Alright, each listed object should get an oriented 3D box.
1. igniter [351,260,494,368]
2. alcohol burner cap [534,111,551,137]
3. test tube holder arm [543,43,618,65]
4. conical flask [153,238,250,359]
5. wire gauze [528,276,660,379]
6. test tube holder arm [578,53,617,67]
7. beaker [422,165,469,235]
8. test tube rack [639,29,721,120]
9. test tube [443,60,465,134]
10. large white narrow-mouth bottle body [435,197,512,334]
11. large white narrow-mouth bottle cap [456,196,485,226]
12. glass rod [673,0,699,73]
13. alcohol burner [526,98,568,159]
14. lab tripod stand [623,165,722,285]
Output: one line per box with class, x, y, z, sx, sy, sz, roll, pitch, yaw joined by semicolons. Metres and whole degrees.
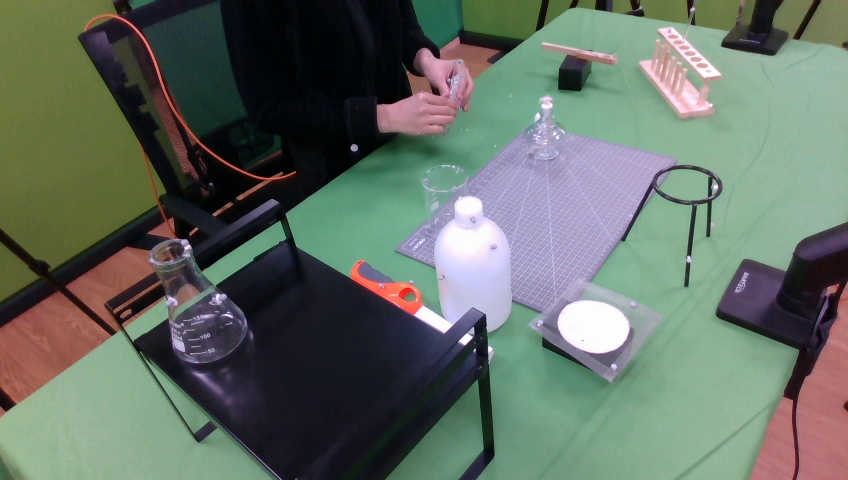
igniter;-0.013;0.098;0.864;0.274;0.025;0.057;30;65;36
alcohol burner cap;0.235;-0.231;1.197;0.034;0.048;0.033;-5;39;4
test tube holder arm;0.344;-0.413;1.340;0.177;0.015;0.013;25;50;31
conical flask;-0.225;0.055;0.597;0.075;0.122;0.075;-5;41;4
wire gauze;0.214;0.103;0.763;0.124;0.011;0.122;30;52;35
test tube holder arm;0.376;-0.393;1.314;0.087;0.015;0.010;26;51;32
beaker;0.041;-0.063;0.986;0.073;0.101;0.084;20;47;29
test tube rack;0.527;-0.351;1.262;0.067;0.085;0.241;-8;40;1
test tube;0.054;-0.259;1.112;0.017;0.150;0.017;6;44;-5
large white narrow-mouth bottle body;0.066;0.028;0.805;0.102;0.195;0.101;-4;40;4
large white narrow-mouth bottle cap;0.057;-0.036;0.749;0.038;0.024;0.037;-4;40;4
glass rod;0.538;-0.425;1.245;0.008;0.200;0.008;0;47;0
alcohol burner;0.228;-0.210;1.118;0.078;0.119;0.077;-5;43;5
lab tripod stand;0.365;-0.030;0.874;0.148;0.132;0.147;-6;41;6
